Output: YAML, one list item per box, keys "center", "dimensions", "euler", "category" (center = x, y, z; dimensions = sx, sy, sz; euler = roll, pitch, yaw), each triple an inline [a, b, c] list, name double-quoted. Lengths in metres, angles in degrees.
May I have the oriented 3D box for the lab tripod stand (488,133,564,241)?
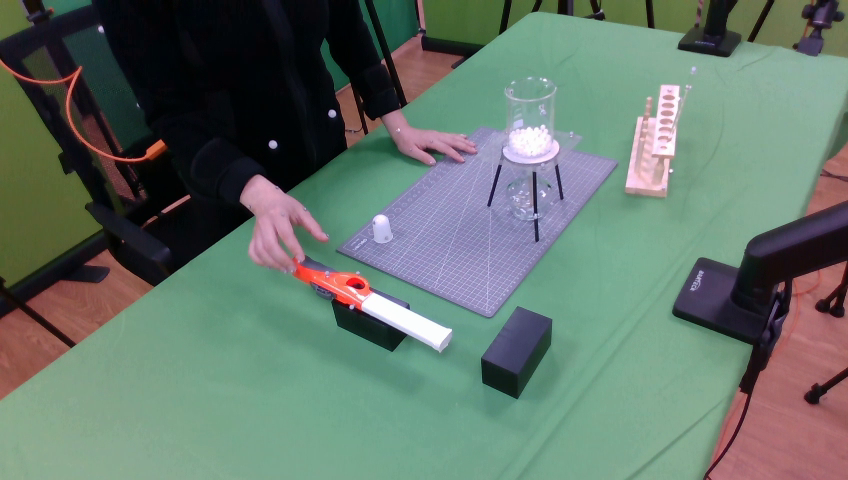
- center: [0.168, -0.092, 0.972]
  dimensions: [0.148, 0.132, 0.147]
  euler: [-5, 41, 5]
  category: "lab tripod stand"

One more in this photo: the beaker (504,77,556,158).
- center: [0.160, -0.181, 0.900]
  dimensions: [0.084, 0.101, 0.073]
  euler: [-32, 46, -27]
  category: "beaker"

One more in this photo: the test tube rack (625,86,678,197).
- center: [0.412, -0.184, 1.088]
  dimensions: [0.066, 0.085, 0.242]
  euler: [9, 43, 18]
  category: "test tube rack"

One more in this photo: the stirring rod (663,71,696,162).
- center: [0.410, -0.195, 0.981]
  dimensions: [0.014, 0.177, 0.006]
  euler: [12, 50, 14]
  category: "stirring rod"

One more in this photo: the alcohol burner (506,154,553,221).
- center: [0.171, -0.090, 0.984]
  dimensions: [0.078, 0.119, 0.077]
  euler: [-5, 42, 5]
  category: "alcohol burner"

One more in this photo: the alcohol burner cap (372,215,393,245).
- center: [-0.070, -0.019, 0.990]
  dimensions: [0.034, 0.048, 0.033]
  euler: [-4, 41, 4]
  category: "alcohol burner cap"

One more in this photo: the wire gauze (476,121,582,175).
- center: [0.162, -0.142, 0.929]
  dimensions: [0.120, 0.011, 0.125]
  euler: [19, 49, 32]
  category: "wire gauze"

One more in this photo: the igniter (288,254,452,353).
- center: [-0.083, 0.079, 0.818]
  dimensions: [0.274, 0.025, 0.057]
  euler: [23, 46, 27]
  category: "igniter"
